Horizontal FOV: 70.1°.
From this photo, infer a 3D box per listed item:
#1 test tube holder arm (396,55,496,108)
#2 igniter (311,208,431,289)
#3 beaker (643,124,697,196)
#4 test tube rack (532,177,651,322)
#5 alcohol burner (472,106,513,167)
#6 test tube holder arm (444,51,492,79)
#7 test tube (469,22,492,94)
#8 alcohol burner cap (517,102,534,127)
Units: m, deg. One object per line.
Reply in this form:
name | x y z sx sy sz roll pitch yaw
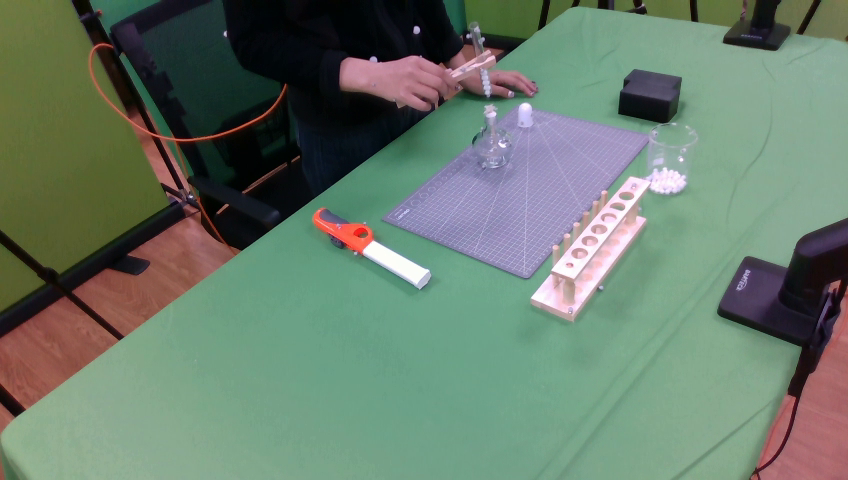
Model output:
test tube holder arm | 0.036 -0.262 0.998 0.178 0.015 0.013 -26 53 -1
igniter | -0.096 0.008 0.986 0.274 0.025 0.057 28 62 36
beaker | 0.407 -0.132 1.001 0.084 0.101 0.073 -20 41 -13
test tube rack | 0.247 0.002 0.883 0.066 0.085 0.243 22 49 32
alcohol burner | 0.125 -0.195 1.111 0.078 0.119 0.077 -5 42 5
test tube holder arm | 0.073 -0.287 1.003 0.088 0.015 0.010 -32 54 -5
test tube | 0.095 -0.296 0.999 0.017 0.151 0.017 -7 59 12
alcohol burner cap | 0.205 -0.255 1.223 0.034 0.048 0.033 -6 41 6
